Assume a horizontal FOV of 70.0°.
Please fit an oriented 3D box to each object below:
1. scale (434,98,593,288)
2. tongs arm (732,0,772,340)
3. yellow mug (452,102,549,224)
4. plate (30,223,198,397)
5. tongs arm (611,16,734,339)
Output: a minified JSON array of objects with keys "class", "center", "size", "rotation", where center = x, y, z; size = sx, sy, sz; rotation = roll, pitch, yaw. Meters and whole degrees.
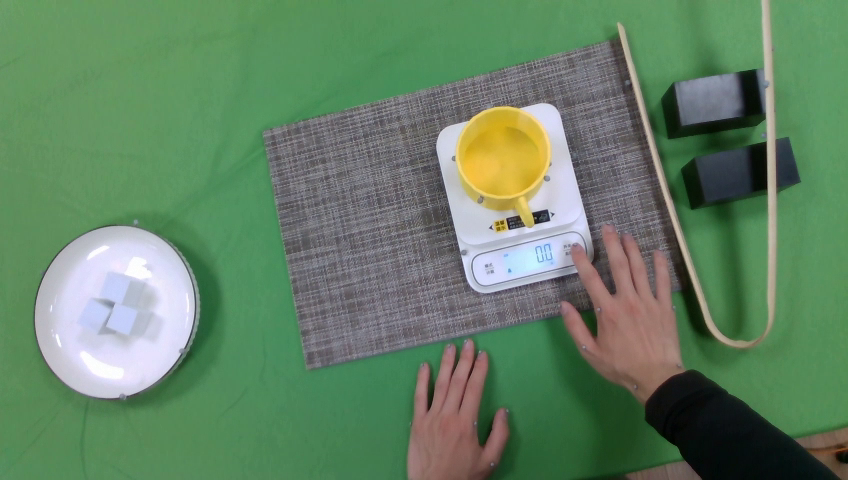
[{"class":"scale","center":[0.101,-0.055,0.698],"size":[0.148,0.031,0.200],"rotation":[-14,83,5]},{"class":"tongs arm","center":[0.340,-0.088,0.637],"size":[0.050,0.027,0.384],"rotation":[-4,90,33]},{"class":"yellow mug","center":[0.088,-0.078,0.654],"size":[0.100,0.064,0.130],"rotation":[-24,83,3]},{"class":"plate","center":[-0.370,0.084,0.737],"size":[0.207,0.039,0.207],"rotation":[-1,84,6]},{"class":"tongs arm","center":[0.274,-0.076,0.683],"size":[0.028,0.028,0.386],"rotation":[-19,81,29]}]
